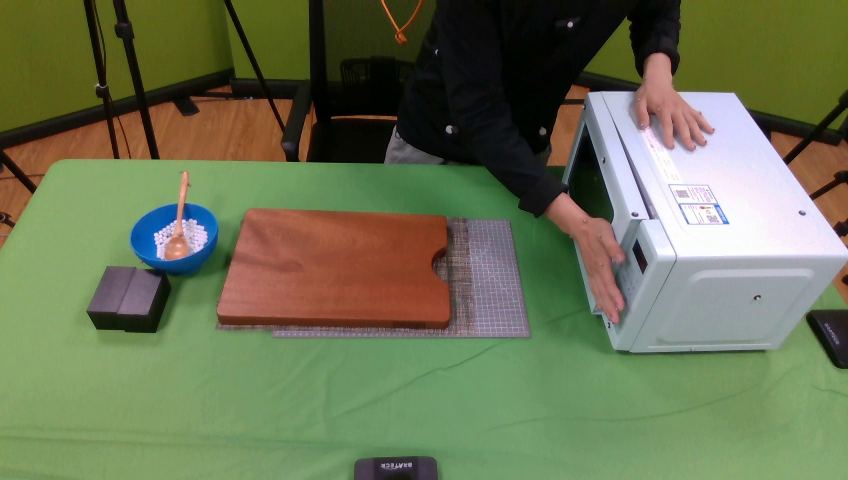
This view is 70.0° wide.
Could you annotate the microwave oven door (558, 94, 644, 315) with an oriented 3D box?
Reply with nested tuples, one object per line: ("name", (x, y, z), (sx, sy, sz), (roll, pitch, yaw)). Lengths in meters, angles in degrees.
("microwave oven door", (0.318, -0.074, 1.123), (0.039, 0.245, 0.353), (2, 46, -3))

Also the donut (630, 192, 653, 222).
("donut", (0.443, -0.062, 1.171), (0.099, 0.048, 0.098), (-6, 31, 4))

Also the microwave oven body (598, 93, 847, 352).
("microwave oven body", (0.475, -0.042, 1.109), (0.326, 0.261, 0.438), (-1, 45, -4))

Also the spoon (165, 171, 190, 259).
("spoon", (-0.452, -0.046, 1.129), (0.041, 0.022, 0.193), (-1, 69, -2))

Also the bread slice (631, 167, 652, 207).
("bread slice", (0.461, -0.091, 1.138), (0.134, 0.018, 0.106), (7, 43, -15))

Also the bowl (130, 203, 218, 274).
("bowl", (-0.450, 0.010, 1.116), (0.151, 0.077, 0.150), (3, 45, -3))

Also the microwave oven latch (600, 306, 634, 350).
("microwave oven latch", (0.331, 0.152, 1.045), (0.030, 0.029, 0.078), (-2, 45, -6))

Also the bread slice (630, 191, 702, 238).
("bread slice", (0.477, -0.050, 1.191), (0.131, 0.019, 0.104), (14, 45, 12))
